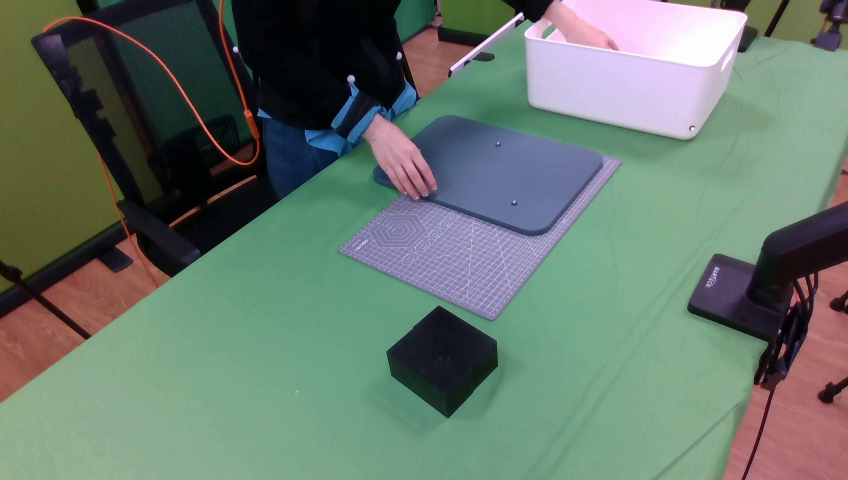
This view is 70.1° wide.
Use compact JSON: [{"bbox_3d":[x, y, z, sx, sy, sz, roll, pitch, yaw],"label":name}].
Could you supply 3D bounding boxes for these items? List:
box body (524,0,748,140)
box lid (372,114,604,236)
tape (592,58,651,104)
[{"bbox_3d":[0.412,-0.354,1.212,0.361,0.161,0.254,20,48,29],"label":"box body"},{"bbox_3d":[0.115,-0.133,1.112,0.368,0.015,0.264,21,48,30],"label":"box lid"},{"bbox_3d":[0.408,-0.332,1.258,0.117,0.053,0.116,-2,39,2],"label":"tape"}]
